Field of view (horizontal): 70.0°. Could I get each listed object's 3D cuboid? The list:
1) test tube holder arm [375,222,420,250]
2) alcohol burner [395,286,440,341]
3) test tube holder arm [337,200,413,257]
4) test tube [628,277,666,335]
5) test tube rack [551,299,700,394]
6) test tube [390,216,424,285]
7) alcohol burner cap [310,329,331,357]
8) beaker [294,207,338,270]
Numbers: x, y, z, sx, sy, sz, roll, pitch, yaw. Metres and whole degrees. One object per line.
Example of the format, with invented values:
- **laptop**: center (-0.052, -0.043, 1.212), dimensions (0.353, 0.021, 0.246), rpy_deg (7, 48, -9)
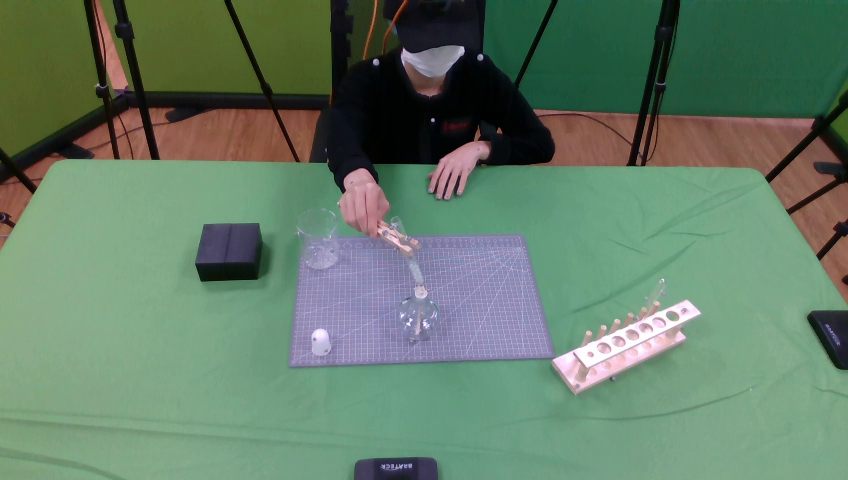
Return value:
- **test tube holder arm**: center (-0.043, -0.007, 0.917), dimensions (0.087, 0.015, 0.010), rpy_deg (23, 59, 32)
- **alcohol burner**: center (-0.010, 0.116, 1.018), dimensions (0.078, 0.119, 0.077), rpy_deg (3, 47, -3)
- **test tube holder arm**: center (-0.080, -0.021, 0.940), dimensions (0.013, 0.015, 0.177), rpy_deg (-42, 51, -22)
- **test tube**: center (0.371, 0.112, 1.014), dimensions (0.017, 0.151, 0.017), rpy_deg (3, 47, -3)
- **test tube rack**: center (0.339, 0.166, 1.021), dimensions (0.242, 0.085, 0.066), rpy_deg (-19, 50, -21)
- **test tube**: center (-0.024, 0.020, 0.918), dimensions (0.017, 0.151, 0.017), rpy_deg (-9, 46, 10)
- **alcohol burner cap**: center (-0.173, 0.168, 1.004), dimensions (0.034, 0.048, 0.033), rpy_deg (2, 46, -2)
- **beaker**: center (-0.196, 0.003, 1.123), dimensions (0.074, 0.101, 0.083), rpy_deg (-23, 52, -24)
